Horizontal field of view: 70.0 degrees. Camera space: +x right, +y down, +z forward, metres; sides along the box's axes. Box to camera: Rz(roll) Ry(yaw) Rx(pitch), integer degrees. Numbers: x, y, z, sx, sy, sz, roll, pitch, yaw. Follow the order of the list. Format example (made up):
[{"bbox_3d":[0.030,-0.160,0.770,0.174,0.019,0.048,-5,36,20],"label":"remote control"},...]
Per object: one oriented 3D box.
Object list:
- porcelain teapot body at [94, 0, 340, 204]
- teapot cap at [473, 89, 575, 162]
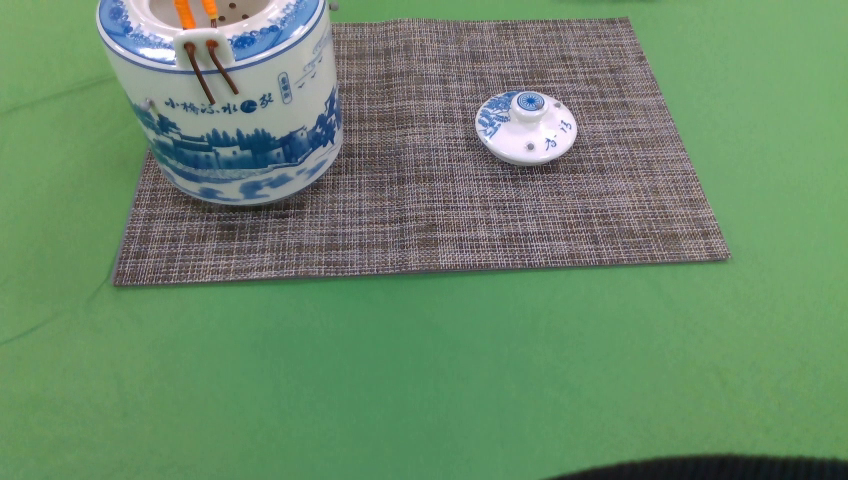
[{"bbox_3d":[-0.142,-0.161,0.425,0.145,0.227,0.203,-8,55,-7],"label":"porcelain teapot body"},{"bbox_3d":[0.083,-0.101,0.503,0.085,0.044,0.084,0,54,1],"label":"teapot cap"}]
